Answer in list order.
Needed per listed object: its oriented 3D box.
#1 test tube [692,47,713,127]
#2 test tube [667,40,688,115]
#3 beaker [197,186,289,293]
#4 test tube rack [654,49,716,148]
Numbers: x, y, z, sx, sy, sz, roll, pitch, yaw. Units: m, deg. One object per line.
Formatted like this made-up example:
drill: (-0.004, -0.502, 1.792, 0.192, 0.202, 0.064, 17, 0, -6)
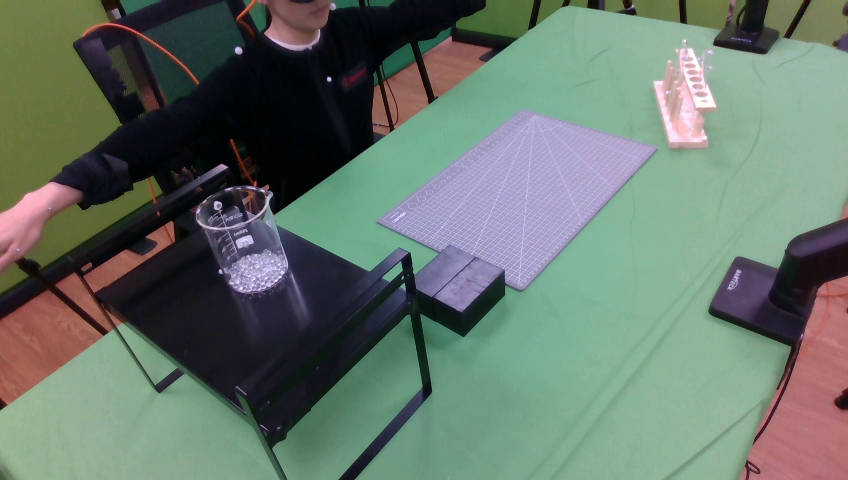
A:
test tube: (0.501, -0.272, 1.090, 0.017, 0.151, 0.017, -5, 37, 4)
test tube: (0.477, -0.303, 1.138, 0.017, 0.151, 0.017, -5, 42, 5)
beaker: (-0.192, 0.001, 0.666, 0.084, 0.101, 0.073, -33, 47, -27)
test tube rack: (0.502, -0.281, 1.176, 0.066, 0.085, 0.241, 1, 41, 11)
